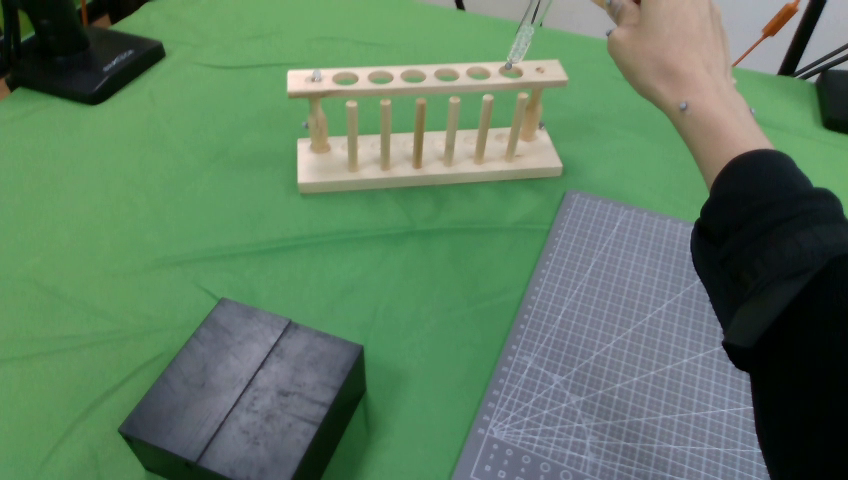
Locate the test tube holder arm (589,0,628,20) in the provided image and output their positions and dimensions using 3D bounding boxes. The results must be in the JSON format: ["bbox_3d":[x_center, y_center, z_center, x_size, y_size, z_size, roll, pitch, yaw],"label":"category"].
[{"bbox_3d":[0.113,-0.192,0.449,0.087,0.015,0.010,38,51,12],"label":"test tube holder arm"}]

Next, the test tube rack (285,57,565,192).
[{"bbox_3d":[0.004,-0.105,0.545,0.243,0.086,0.066,-5,47,-8],"label":"test tube rack"}]

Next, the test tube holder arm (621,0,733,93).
[{"bbox_3d":[0.149,-0.166,0.441,0.177,0.015,0.013,44,53,16],"label":"test tube holder arm"}]

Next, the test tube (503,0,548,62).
[{"bbox_3d":[0.095,-0.201,0.469,0.017,0.151,0.017,10,51,-13],"label":"test tube"}]
